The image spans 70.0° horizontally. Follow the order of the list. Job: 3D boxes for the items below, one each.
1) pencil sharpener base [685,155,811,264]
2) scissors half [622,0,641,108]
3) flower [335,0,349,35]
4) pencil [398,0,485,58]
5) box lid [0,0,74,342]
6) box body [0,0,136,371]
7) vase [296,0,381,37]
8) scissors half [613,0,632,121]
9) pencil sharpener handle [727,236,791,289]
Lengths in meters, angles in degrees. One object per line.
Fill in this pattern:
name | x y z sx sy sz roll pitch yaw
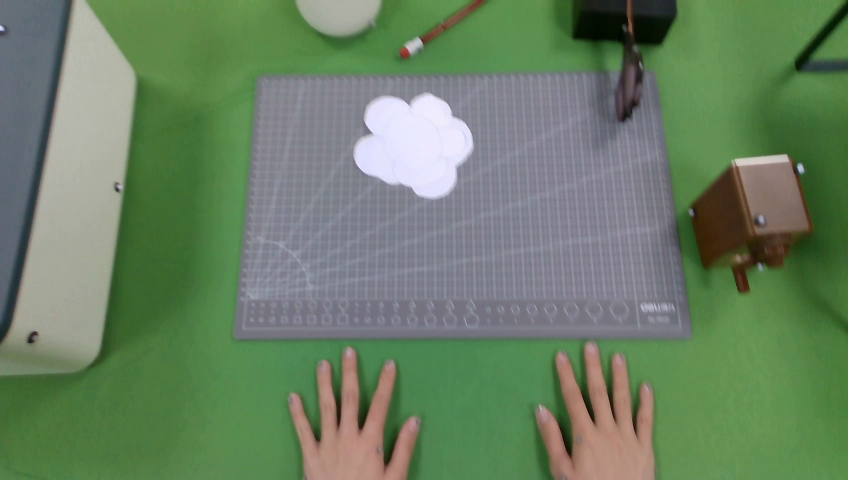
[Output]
pencil sharpener base | 0.303 -0.023 0.576 0.061 0.107 0.076 -5 72 0
scissors half | 0.216 -0.218 0.639 0.013 0.040 0.174 2 67 4
flower | -0.110 -0.345 0.553 0.044 0.365 0.038 -7 54 3
pencil | 0.047 -0.269 0.712 0.194 0.012 0.012 -38 74 -12
box lid | -0.442 -0.084 0.501 0.263 0.015 0.369 -2 72 0
box body | -0.439 -0.058 0.571 0.254 0.161 0.361 -2 72 1
vase | -0.100 -0.305 0.627 0.098 0.201 0.097 -1 70 2
scissors half | 0.217 -0.213 0.659 0.013 0.040 0.174 4 84 -1
pencil sharpener handle | 0.303 0.022 0.548 0.036 0.068 0.030 0 71 -14
